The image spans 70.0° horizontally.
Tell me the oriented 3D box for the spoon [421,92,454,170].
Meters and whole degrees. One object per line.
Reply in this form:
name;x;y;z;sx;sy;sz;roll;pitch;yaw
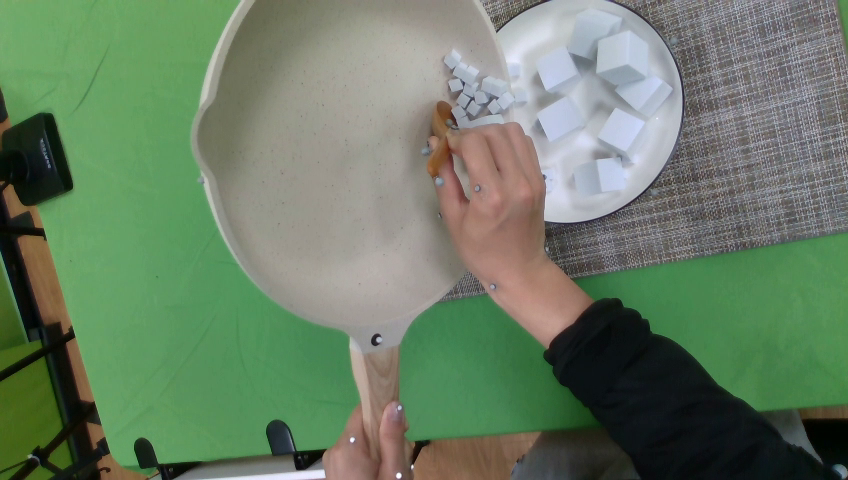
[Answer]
spoon;0.012;-0.089;0.484;0.021;0.192;0.042;-19;109;9

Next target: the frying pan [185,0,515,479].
frying pan;-0.045;0.020;0.491;0.102;0.308;0.488;5;98;47

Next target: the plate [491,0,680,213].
plate;0.133;-0.131;0.577;0.206;0.039;0.208;5;102;24
